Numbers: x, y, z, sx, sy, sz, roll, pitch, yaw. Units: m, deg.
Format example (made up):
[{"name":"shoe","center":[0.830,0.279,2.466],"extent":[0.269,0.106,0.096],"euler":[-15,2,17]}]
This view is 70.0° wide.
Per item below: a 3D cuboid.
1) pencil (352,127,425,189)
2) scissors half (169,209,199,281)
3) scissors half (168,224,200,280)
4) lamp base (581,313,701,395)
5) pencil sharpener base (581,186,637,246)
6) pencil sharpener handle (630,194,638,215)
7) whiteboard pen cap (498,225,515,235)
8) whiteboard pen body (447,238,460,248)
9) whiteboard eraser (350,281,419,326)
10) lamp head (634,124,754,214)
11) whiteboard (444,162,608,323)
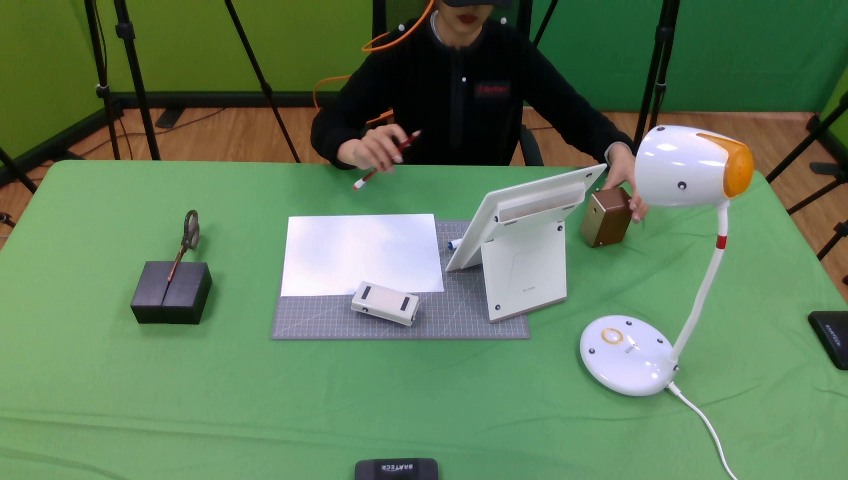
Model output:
[{"name":"pencil","center":[-0.066,-0.148,1.103],"extent":[0.012,0.194,0.012],"euler":[34,37,-30]},{"name":"scissors half","center":[-0.438,0.007,1.098],"extent":[0.013,0.040,0.174],"euler":[3,48,-3]},{"name":"scissors half","center":[-0.440,0.023,1.111],"extent":[0.013,0.040,0.174],"euler":[7,29,-6]},{"name":"lamp base","center":[0.361,0.144,0.972],"extent":[0.178,0.181,0.160],"euler":[34,53,23]},{"name":"pencil sharpener base","center":[0.369,-0.047,1.209],"extent":[0.077,0.107,0.061],"euler":[-11,47,-15]},{"name":"pencil sharpener handle","center":[0.417,-0.068,1.215],"extent":[0.031,0.068,0.036],"euler":[-11,60,-15]},{"name":"whiteboard pen cap","center":[0.166,-0.019,1.222],"extent":[0.033,0.018,0.018],"euler":[-14,49,-19]},{"name":"whiteboard pen body","center":[0.112,-0.006,1.204],"extent":[0.141,0.017,0.017],"euler":[-14,49,-18]},{"name":"whiteboard eraser","center":[-0.069,0.113,1.065],"extent":[0.112,0.042,0.055],"euler":[14,46,9]},{"name":"lamp head","center":[0.351,-0.089,0.775],"extent":[0.112,0.113,0.122],"euler":[-30,30,-28]},{"name":"whiteboard","center":[0.186,0.025,1.029],"extent":[0.217,0.306,0.143],"euler":[-14,68,-17]}]
